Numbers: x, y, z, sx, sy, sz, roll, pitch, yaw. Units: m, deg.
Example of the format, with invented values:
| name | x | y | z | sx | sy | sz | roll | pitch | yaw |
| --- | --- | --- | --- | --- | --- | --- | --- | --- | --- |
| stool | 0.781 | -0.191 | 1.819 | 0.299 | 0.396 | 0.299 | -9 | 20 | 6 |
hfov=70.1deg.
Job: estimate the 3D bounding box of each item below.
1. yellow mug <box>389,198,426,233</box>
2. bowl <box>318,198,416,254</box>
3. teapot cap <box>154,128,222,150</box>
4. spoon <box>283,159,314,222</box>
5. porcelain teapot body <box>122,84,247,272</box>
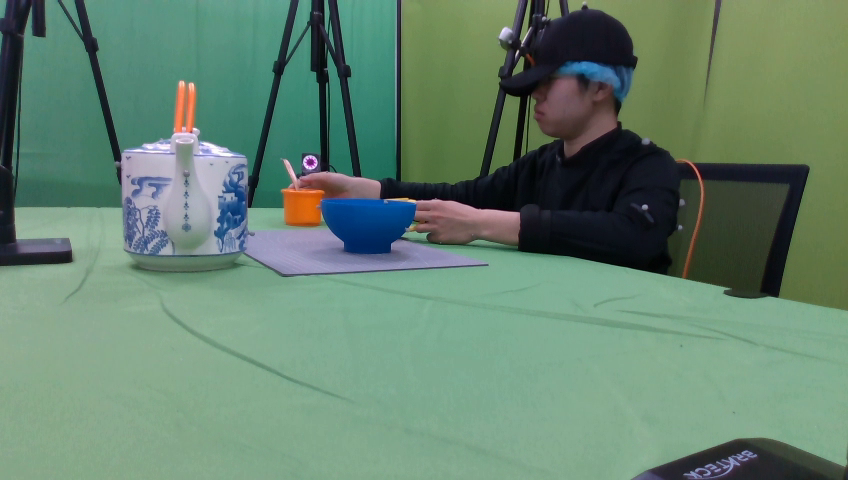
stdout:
| name | x | y | z | sx | sy | sz | roll | pitch | yaw |
| --- | --- | --- | --- | --- | --- | --- | --- | --- | --- |
| yellow mug | -0.062 | -0.045 | 1.129 | 0.131 | 0.064 | 0.100 | -3 | 4 | 0 |
| bowl | -0.089 | -0.022 | 0.941 | 0.151 | 0.077 | 0.151 | 2 | 7 | 0 |
| teapot cap | -0.294 | -0.117 | 0.754 | 0.085 | 0.044 | 0.085 | 4 | 9 | 0 |
| spoon | -0.279 | -0.110 | 1.323 | 0.042 | 0.193 | 0.021 | 1 | -38 | -35 |
| porcelain teapot body | -0.286 | -0.075 | 0.733 | 0.146 | 0.225 | 0.204 | 0 | 8 | -24 |
